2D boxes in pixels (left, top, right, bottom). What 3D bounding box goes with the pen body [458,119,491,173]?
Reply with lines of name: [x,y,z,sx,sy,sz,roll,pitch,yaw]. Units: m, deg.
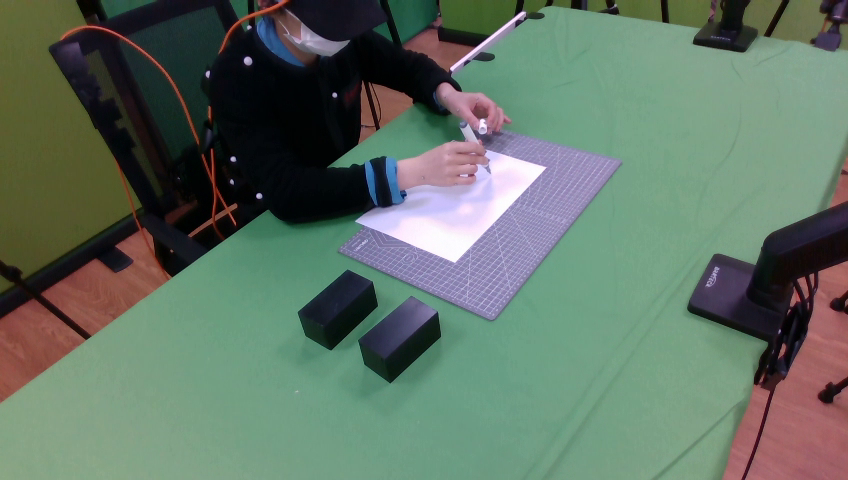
pen body: [0.091,-0.157,1.038,0.017,0.145,0.017,-13,56,21]

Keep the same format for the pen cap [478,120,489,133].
pen cap: [0.112,-0.213,1.134,0.017,0.017,0.038,5,26,14]
